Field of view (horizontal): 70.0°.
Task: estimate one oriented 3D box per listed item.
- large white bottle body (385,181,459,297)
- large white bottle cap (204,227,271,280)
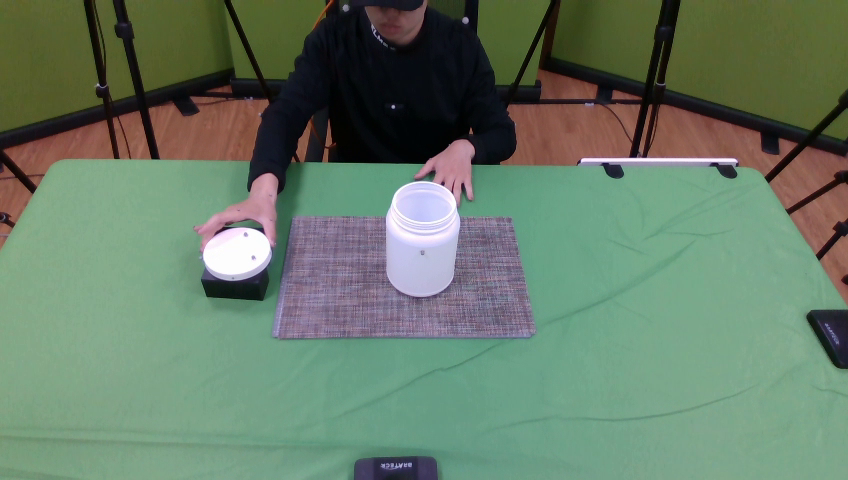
[{"bbox_3d":[-0.004,-0.002,1.082,0.131,0.185,0.130,2,46,-2],"label":"large white bottle body"},{"bbox_3d":[-0.333,0.023,1.083,0.115,0.018,0.114,2,47,-2],"label":"large white bottle cap"}]
